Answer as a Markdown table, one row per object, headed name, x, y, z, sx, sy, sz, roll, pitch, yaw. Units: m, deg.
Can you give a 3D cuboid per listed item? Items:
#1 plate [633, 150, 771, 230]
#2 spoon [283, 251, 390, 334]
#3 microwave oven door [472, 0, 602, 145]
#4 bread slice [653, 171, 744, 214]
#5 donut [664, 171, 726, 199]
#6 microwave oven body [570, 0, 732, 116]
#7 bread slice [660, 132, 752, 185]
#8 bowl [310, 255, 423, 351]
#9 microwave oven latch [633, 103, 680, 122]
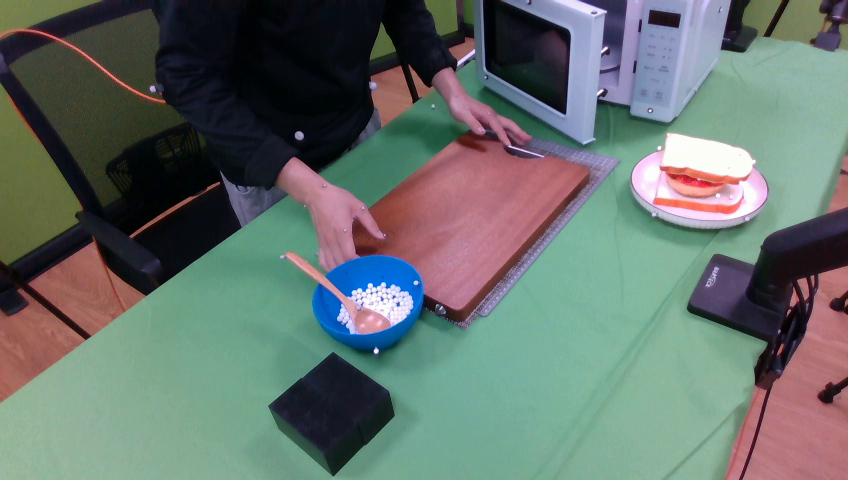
| name | x | y | z | sx | sy | sz | roll | pitch | yaw |
| --- | --- | --- | --- | --- | --- | --- | --- | --- | --- |
| plate | 0.448 | -0.081 | 0.988 | 0.207 | 0.039 | 0.206 | -4 | 40 | 4 |
| spoon | -0.121 | 0.070 | 0.812 | 0.193 | 0.022 | 0.042 | 39 | 65 | 16 |
| microwave oven door | 0.206 | -0.362 | 1.167 | 0.039 | 0.245 | 0.352 | -25 | 44 | -20 |
| bread slice | 0.453 | -0.084 | 0.992 | 0.131 | 0.019 | 0.105 | 11 | 45 | 21 |
| donut | 0.438 | -0.105 | 0.973 | 0.099 | 0.048 | 0.098 | -10 | 42 | 9 |
| microwave oven body | 0.377 | -0.463 | 1.267 | 0.438 | 0.261 | 0.327 | 21 | 49 | 30 |
| bread slice | 0.443 | -0.127 | 0.952 | 0.134 | 0.018 | 0.107 | 14 | 43 | 14 |
| bowl | -0.072 | 0.098 | 0.821 | 0.151 | 0.077 | 0.150 | -4 | 40 | 4 |
| microwave oven latch | 0.444 | -0.249 | 1.158 | 0.078 | 0.029 | 0.030 | 21 | 49 | 30 |
